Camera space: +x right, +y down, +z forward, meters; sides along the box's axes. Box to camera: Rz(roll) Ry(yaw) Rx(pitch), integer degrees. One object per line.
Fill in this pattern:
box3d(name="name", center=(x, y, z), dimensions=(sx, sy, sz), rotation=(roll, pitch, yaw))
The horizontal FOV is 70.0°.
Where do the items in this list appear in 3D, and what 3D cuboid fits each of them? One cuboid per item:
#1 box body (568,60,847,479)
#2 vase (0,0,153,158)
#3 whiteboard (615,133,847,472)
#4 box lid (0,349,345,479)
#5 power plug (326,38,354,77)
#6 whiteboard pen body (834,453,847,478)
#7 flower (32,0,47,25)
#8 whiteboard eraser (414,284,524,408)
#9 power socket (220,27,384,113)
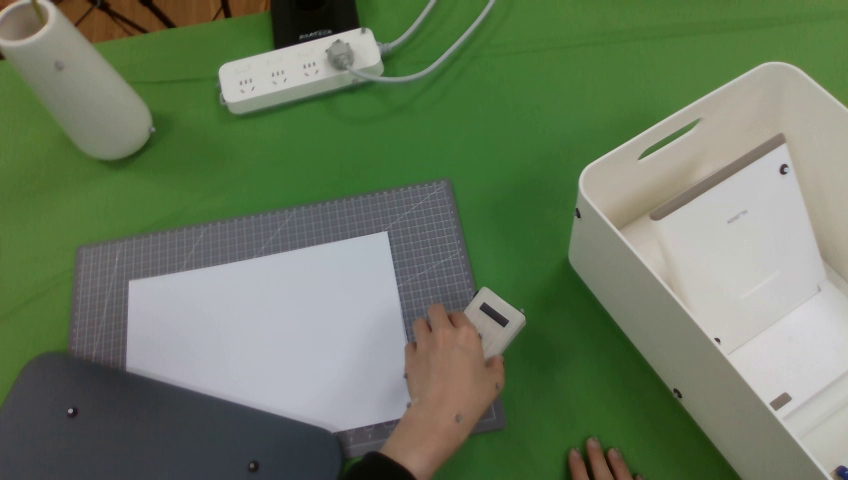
box3d(name="box body", center=(0.332, 0.049, 0.555), dimensions=(0.254, 0.162, 0.361), rotation=(-30, 65, -10))
box3d(name="vase", center=(-0.402, -0.182, 0.704), dimensions=(0.098, 0.201, 0.097), rotation=(-2, 63, 5))
box3d(name="whiteboard", center=(0.329, 0.043, 0.571), dimensions=(0.217, 0.145, 0.302), rotation=(-30, 64, -13))
box3d(name="box lid", center=(-0.284, 0.265, 0.580), dimensions=(0.370, 0.015, 0.261), rotation=(13, 66, 10))
box3d(name="power plug", center=(-0.106, -0.223, 0.770), dimensions=(0.035, 0.053, 0.072), rotation=(-6, 70, 1))
box3d(name="whiteboard pen body", center=(0.437, 0.177, 0.561), dimensions=(0.141, 0.017, 0.017), rotation=(-29, 65, -10))
box3d(name="flower", center=(-0.387, -0.215, 0.627), dimensions=(0.038, 0.363, 0.044), rotation=(37, 62, 2))
box3d(name="whiteboard eraser", center=(0.044, 0.101, 0.586), dimensions=(0.055, 0.042, 0.112), rotation=(36, 77, 17))
box3d(name="power socket", center=(-0.161, -0.225, 0.800), dimensions=(0.227, 0.033, 0.071), rotation=(-15, 64, -4))
